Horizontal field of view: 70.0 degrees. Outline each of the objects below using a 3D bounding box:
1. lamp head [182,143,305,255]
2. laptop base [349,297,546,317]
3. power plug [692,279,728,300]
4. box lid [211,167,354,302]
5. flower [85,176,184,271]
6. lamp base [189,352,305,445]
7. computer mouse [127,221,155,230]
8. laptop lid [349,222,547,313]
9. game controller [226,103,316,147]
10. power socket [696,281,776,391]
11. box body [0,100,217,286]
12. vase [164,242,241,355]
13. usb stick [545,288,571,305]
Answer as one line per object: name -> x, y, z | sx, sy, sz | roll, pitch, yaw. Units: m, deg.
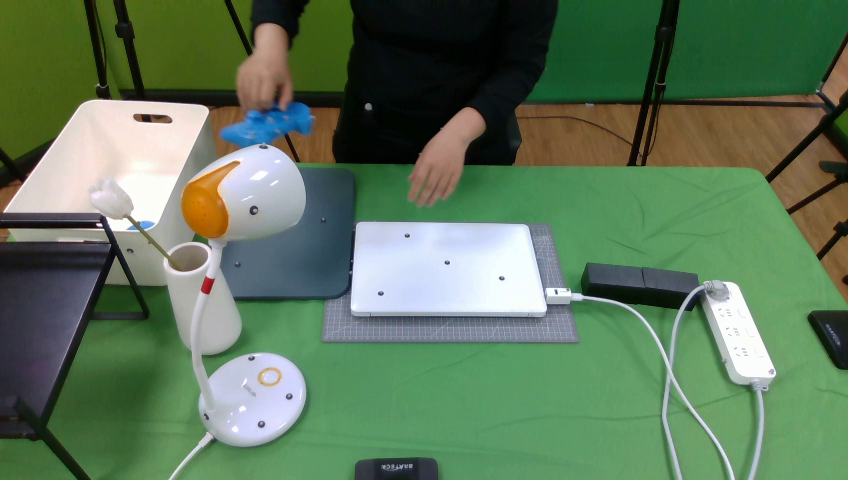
lamp head -> -0.216, -0.044, 0.697 | 0.112, 0.113, 0.123 | 23, 31, 17
laptop base -> 0.041, 0.055, 1.149 | 0.355, 0.023, 0.234 | 1, 43, -4
power plug -> 0.522, 0.091, 1.116 | 0.072, 0.053, 0.035 | 10, 47, 8
box lid -> -0.276, -0.024, 1.205 | 0.263, 0.015, 0.369 | 0, 46, -4
flower -> -0.365, 0.038, 0.894 | 0.038, 0.364, 0.044 | -6, 53, 14
lamp base -> -0.268, 0.196, 0.876 | 0.160, 0.181, 0.179 | 26, 52, 20
computer mouse -> -0.537, 0.009, 1.127 | 0.062, 0.041, 0.117 | 31, 55, 21
laptop lid -> 0.041, 0.046, 1.143 | 0.357, 0.013, 0.240 | 2, 44, -3
game controller -> -0.265, -0.204, 1.074 | 0.096, 0.052, 0.155 | 37, 52, 23
power socket -> 0.550, 0.160, 1.078 | 0.072, 0.033, 0.225 | 2, 46, -1
box body -> -0.560, -0.092, 1.145 | 0.254, 0.161, 0.361 | 3, 46, -2
vase -> -0.349, 0.096, 0.954 | 0.098, 0.201, 0.097 | 3, 47, -3
usb stick -> 0.236, 0.102, 1.101 | 0.059, 0.027, 0.021 | -2, 46, 1
